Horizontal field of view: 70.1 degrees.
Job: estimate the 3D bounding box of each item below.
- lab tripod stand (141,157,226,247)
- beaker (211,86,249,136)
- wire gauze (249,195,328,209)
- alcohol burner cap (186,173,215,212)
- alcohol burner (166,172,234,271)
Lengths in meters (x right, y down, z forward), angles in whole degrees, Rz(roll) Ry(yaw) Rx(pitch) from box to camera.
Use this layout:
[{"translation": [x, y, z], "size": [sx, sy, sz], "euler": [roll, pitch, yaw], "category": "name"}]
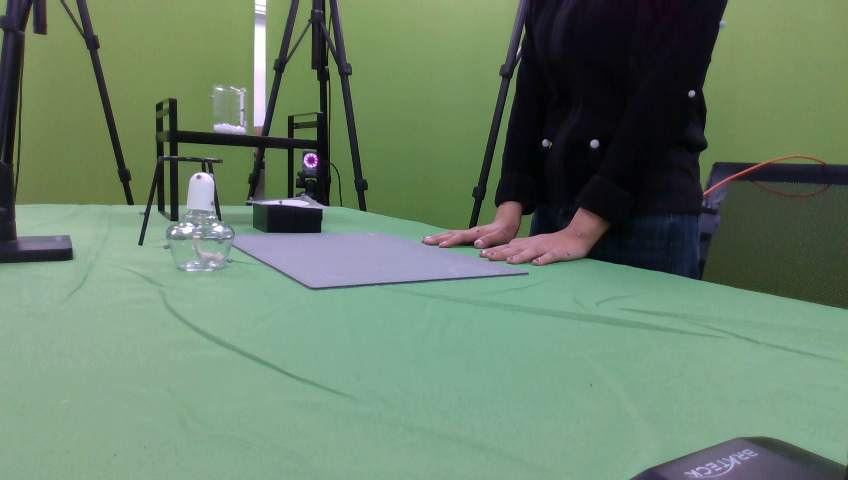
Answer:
[{"translation": [-0.352, -0.060, 0.920], "size": [0.148, 0.131, 0.148], "euler": [1, 6, 0], "category": "lab tripod stand"}, {"translation": [-0.413, -0.274, 1.298], "size": [0.074, 0.100, 0.083], "euler": [-5, 11, -44], "category": "beaker"}, {"translation": [-0.260, -0.071, 1.139], "size": [0.126, 0.011, 0.121], "euler": [-3, 12, -28], "category": "wire gauze"}, {"translation": [-0.268, -0.057, 0.731], "size": [0.034, 0.048, 0.034], "euler": [6, 2, 0], "category": "alcohol burner cap"}, {"translation": [-0.271, -0.023, 0.735], "size": [0.078, 0.119, 0.078], "euler": [2, 5, 0], "category": "alcohol burner"}]
